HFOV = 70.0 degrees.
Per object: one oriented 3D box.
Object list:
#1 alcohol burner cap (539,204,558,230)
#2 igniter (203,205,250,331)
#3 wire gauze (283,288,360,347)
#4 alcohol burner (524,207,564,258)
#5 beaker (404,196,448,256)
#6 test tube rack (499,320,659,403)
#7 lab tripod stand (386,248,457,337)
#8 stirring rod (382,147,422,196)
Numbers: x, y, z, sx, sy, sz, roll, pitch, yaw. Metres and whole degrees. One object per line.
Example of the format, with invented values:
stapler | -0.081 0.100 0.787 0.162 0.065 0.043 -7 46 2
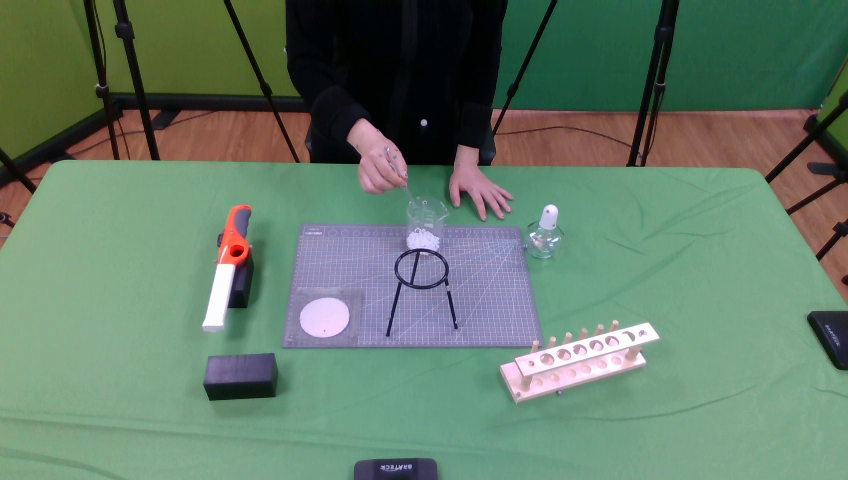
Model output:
alcohol burner cap | 0.238 -0.045 1.148 0.034 0.048 0.033 2 42 -1
igniter | -0.345 0.039 1.065 0.057 0.025 0.274 2 49 -6
wire gauze | -0.178 0.132 1.063 0.125 0.011 0.120 2 46 1
alcohol burner | 0.236 -0.020 1.174 0.078 0.120 0.077 1 48 -1
beaker | 0.001 -0.024 1.164 0.084 0.101 0.073 6 46 0
test tube rack | 0.252 0.187 0.994 0.243 0.085 0.066 -12 48 -15
lab tripod stand | -0.010 0.087 1.032 0.148 0.132 0.147 1 45 -1
stirring rod | -0.034 -0.111 1.013 0.014 0.177 0.006 16 76 22
